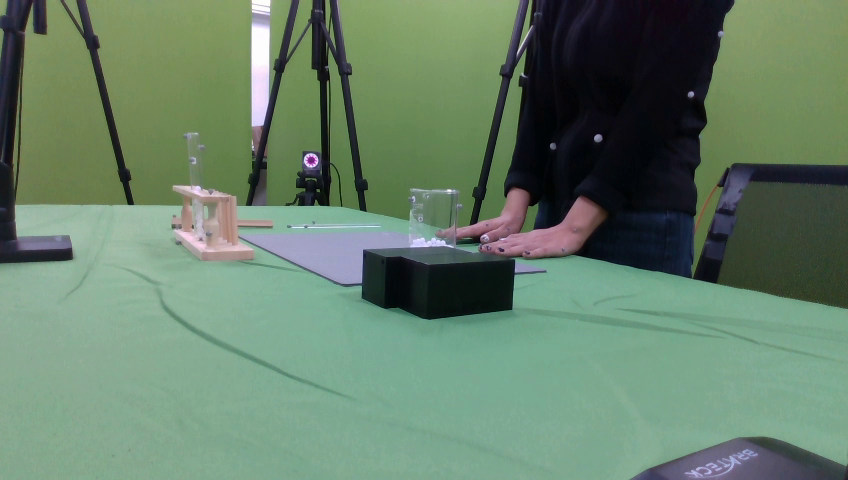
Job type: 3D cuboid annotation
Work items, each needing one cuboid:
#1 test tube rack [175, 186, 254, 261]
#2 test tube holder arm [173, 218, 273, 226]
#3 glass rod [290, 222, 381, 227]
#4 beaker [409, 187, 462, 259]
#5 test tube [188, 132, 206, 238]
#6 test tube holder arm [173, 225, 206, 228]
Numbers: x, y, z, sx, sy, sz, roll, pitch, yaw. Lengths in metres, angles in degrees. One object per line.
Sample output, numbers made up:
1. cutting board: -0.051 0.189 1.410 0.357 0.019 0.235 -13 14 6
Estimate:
1. test tube rack: -0.314 -0.031 0.889 0.067 0.085 0.241 -2 8 -30
2. test tube holder arm: -0.371 -0.033 1.128 0.179 0.015 0.013 -1 -21 -25
3. glass rod: -0.178 -0.033 1.247 0.201 0.008 0.008 -2 8 -30
4. beaker: 0.013 -0.027 0.884 0.074 0.100 0.083 0 7 -23
5. test tube: -0.322 -0.077 0.861 0.017 0.150 0.017 -1 8 1
6. test tube holder arm: -0.414 -0.030 1.113 0.088 0.015 0.010 -1 -21 -25
